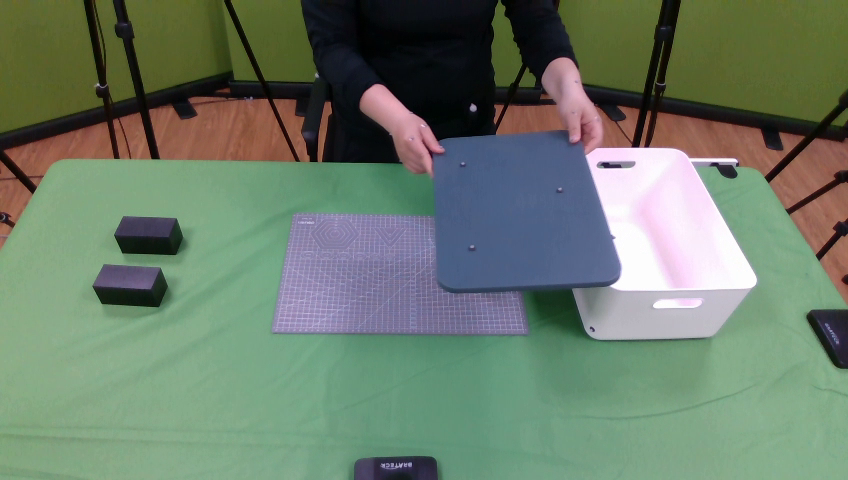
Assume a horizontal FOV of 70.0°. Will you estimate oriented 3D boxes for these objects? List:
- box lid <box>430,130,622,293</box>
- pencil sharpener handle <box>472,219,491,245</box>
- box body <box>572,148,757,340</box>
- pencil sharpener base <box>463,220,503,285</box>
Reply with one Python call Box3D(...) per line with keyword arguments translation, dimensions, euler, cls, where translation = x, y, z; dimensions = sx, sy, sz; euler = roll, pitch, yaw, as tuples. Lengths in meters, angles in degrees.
Box3D(translation=(0.143, -0.059, 0.956), dimensions=(0.263, 0.015, 0.369), euler=(-3, 44, 2), cls="box lid")
Box3D(translation=(0.103, -0.022, 1.146), dimensions=(0.036, 0.068, 0.030), euler=(9, 44, -10), cls="pencil sharpener handle")
Box3D(translation=(0.395, 0.003, 1.127), dimensions=(0.254, 0.161, 0.361), euler=(-1, 46, -5), cls="box body")
Box3D(translation=(0.107, 0.023, 1.119), dimensions=(0.061, 0.107, 0.076), euler=(1, 45, -2), cls="pencil sharpener base")
